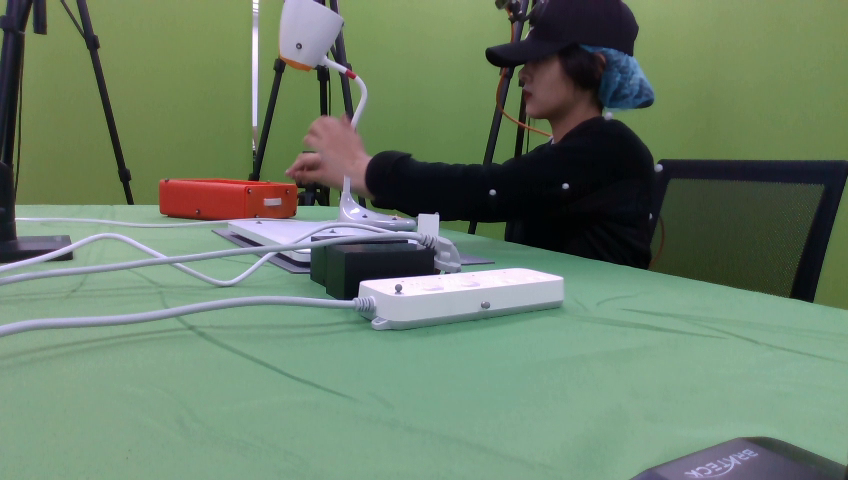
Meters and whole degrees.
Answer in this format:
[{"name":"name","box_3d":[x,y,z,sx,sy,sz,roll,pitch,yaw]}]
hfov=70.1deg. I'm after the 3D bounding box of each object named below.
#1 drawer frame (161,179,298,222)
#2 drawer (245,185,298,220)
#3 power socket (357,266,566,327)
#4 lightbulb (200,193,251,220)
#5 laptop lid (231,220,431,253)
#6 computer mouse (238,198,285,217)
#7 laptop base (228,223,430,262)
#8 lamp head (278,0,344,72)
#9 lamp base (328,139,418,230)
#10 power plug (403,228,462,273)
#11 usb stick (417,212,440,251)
[{"name":"drawer frame","box_3d":[-0.420,-0.089,1.328,0.213,0.082,0.202,4,8,18]},{"name":"drawer","box_3d":[-0.416,-0.088,1.329,0.211,0.073,0.195,4,8,18]},{"name":"power socket","box_3d":[0.042,0.049,0.573,0.228,0.032,0.072,-3,8,-34]},{"name":"lightbulb","box_3d":[-0.433,-0.079,1.319,0.108,0.059,0.059,-17,13,-16]},{"name":"laptop lid","box_3d":[-0.142,-0.009,0.942,0.243,0.013,0.355,1,7,-31]},{"name":"computer mouse","box_3d":[-0.354,-0.072,1.326,0.063,0.041,0.117,3,3,11]},{"name":"laptop base","box_3d":[-0.145,0.002,0.943,0.237,0.023,0.352,1,6,-32]},{"name":"lamp head","box_3d":[-0.218,-0.376,1.128,0.112,0.123,0.112,17,10,-3]},{"name":"lamp base","box_3d":[-0.103,-0.112,1.211,0.180,0.180,0.160,-2,6,-13]},{"name":"power plug","box_3d":[0.006,0.016,0.647,0.073,0.052,0.035,17,12,-6]},{"name":"usb stick","box_3d":[0.005,-0.003,0.721,0.027,0.059,0.021,0,-3,-2]}]
